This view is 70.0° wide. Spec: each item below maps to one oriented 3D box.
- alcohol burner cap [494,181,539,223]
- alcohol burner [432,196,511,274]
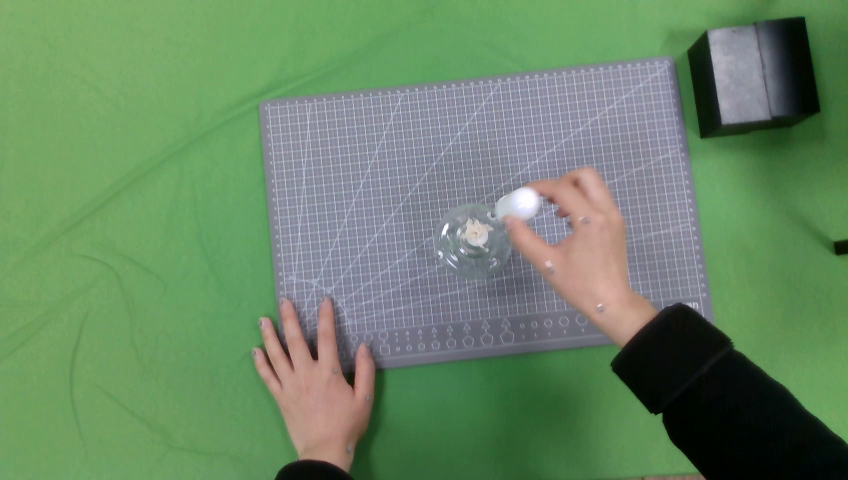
[{"bbox_3d":[0.083,-0.036,0.527,0.034,0.048,0.033,2,80,-10],"label":"alcohol burner cap"},{"bbox_3d":[0.046,-0.006,0.583,0.078,0.119,0.078,0,86,2],"label":"alcohol burner"}]
